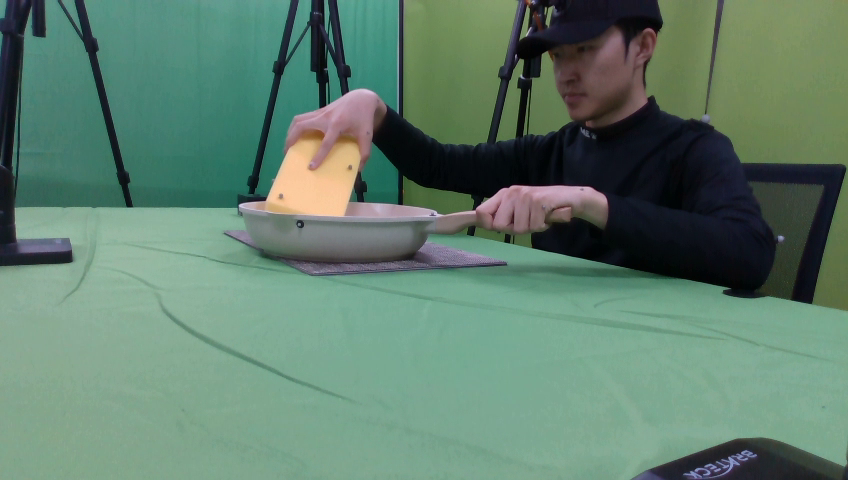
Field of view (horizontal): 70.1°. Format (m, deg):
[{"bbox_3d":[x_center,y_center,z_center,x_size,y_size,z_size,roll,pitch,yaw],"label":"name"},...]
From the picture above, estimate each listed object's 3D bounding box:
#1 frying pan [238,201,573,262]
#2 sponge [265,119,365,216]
[{"bbox_3d":[-0.033,-0.025,0.867,0.486,0.102,0.308,-3,5,25],"label":"frying pan"},{"bbox_3d":[-0.177,-0.099,1.001,0.118,0.061,0.206,16,48,-8],"label":"sponge"}]
